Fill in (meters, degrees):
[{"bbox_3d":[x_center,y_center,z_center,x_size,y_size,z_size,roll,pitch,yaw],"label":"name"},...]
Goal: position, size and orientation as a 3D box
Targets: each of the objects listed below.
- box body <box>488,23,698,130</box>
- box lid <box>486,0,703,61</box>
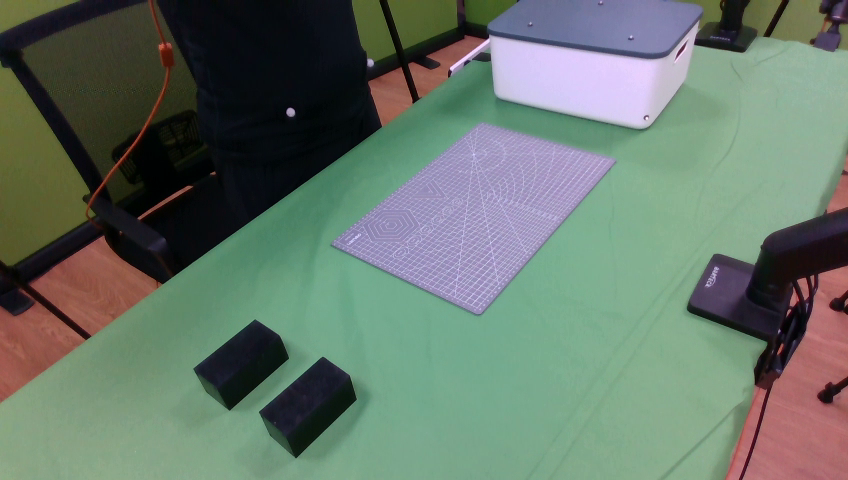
[{"bbox_3d":[0.345,-0.379,1.257,0.361,0.161,0.255,20,48,29],"label":"box body"},{"bbox_3d":[0.338,-0.435,1.208,0.369,0.015,0.264,20,47,29],"label":"box lid"}]
